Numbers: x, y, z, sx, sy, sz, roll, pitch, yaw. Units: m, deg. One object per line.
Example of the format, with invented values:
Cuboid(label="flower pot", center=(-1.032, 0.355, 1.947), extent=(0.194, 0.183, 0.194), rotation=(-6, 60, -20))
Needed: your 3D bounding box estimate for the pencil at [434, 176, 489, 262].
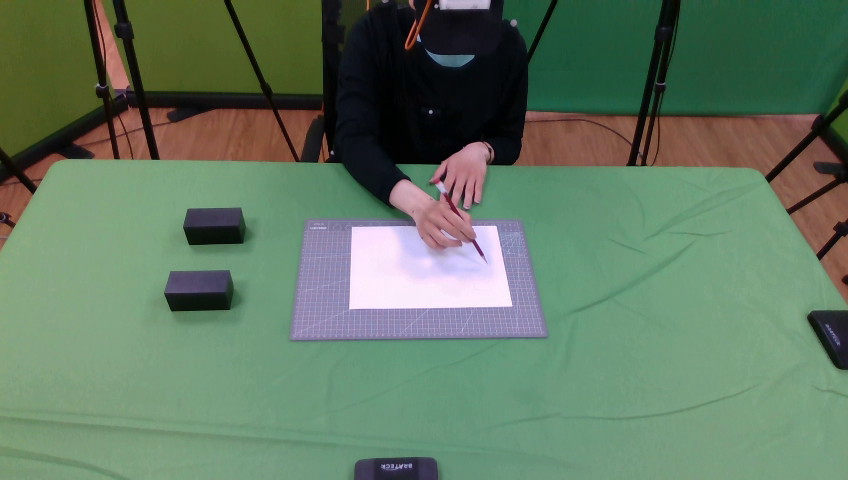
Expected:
Cuboid(label="pencil", center=(0.072, -0.037, 1.127), extent=(0.012, 0.194, 0.012), rotation=(-30, 16, 10))
